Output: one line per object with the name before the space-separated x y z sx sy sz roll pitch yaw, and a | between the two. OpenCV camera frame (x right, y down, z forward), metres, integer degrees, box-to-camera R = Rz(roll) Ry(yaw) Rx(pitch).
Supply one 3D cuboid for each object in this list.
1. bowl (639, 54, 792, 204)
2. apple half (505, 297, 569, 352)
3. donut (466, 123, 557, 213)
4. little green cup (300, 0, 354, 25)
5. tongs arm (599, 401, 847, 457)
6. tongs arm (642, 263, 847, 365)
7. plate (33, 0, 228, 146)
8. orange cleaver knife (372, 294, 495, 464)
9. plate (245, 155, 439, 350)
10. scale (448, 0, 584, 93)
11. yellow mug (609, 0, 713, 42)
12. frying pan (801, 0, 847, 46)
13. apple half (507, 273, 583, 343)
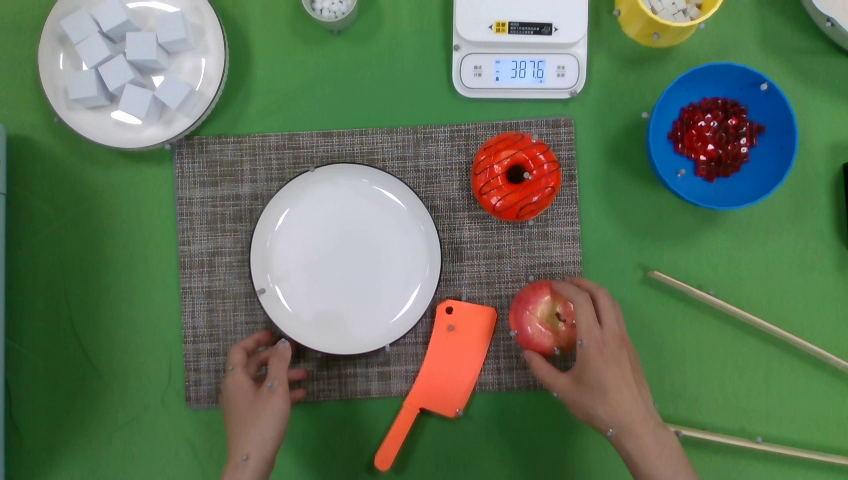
bowl | 0.295 -0.110 0.644 0.151 0.077 0.151 0 90 1
apple half | 0.109 0.095 0.632 0.081 0.081 0.033 39 82 2
donut | 0.094 -0.077 0.657 0.099 0.048 0.099 0 89 2
little green cup | -0.106 -0.270 0.669 0.061 0.038 0.061 0 88 1
tongs arm | 0.386 0.200 0.658 0.385 0.026 0.050 12 87 1
tongs arm | 0.413 0.118 0.660 0.387 0.028 0.028 27 83 1
plate | -0.318 -0.205 0.669 0.208 0.039 0.207 0 89 0
orange cleaver knife | 0.010 0.155 0.667 0.077 0.012 0.211 25 88 -4
plate | -0.087 0.013 0.660 0.209 0.038 0.209 0 89 1
scale | 0.102 -0.266 0.671 0.149 0.031 0.200 1 89 1
yellow mug | 0.249 -0.287 0.653 0.100 0.064 0.130 -36 88 0
frying pan | 0.577 -0.238 0.631 0.307 0.103 0.486 -30 81 1
apple half | 0.133 0.065 0.636 0.080 0.075 0.053 38 83 6
